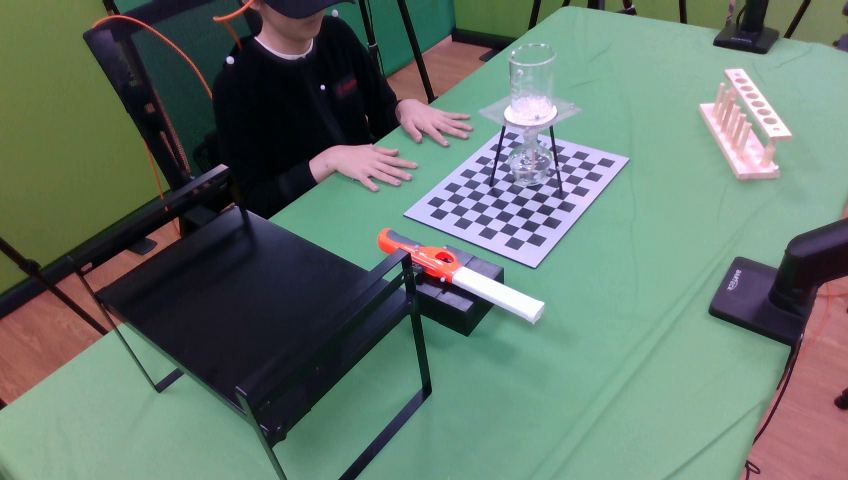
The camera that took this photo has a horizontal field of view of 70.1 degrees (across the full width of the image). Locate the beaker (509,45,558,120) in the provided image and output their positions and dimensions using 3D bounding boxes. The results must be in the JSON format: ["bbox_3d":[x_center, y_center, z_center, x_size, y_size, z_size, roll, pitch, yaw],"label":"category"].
[{"bbox_3d":[0.174,-0.253,0.977,0.074,0.101,0.083,-37,48,-28],"label":"beaker"}]

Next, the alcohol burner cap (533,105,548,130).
[{"bbox_3d":[0.235,-0.251,1.217,0.034,0.048,0.033,-5,41,5],"label":"alcohol burner cap"}]

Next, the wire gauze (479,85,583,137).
[{"bbox_3d":[0.177,-0.214,1.007,0.125,0.011,0.120,-31,44,-19],"label":"wire gauze"}]

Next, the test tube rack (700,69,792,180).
[{"bbox_3d":[0.571,-0.215,1.090,0.066,0.085,0.241,-3,41,7],"label":"test tube rack"}]

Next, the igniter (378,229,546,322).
[{"bbox_3d":[0.041,0.043,0.844,0.274,0.025,0.057,24,47,29],"label":"igniter"}]

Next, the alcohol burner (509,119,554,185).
[{"bbox_3d":[0.188,-0.157,1.054,0.078,0.119,0.077,-4,39,4],"label":"alcohol burner"}]

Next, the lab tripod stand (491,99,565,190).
[{"bbox_3d":[0.184,-0.163,1.046,0.148,0.132,0.147,-5,43,5],"label":"lab tripod stand"}]
